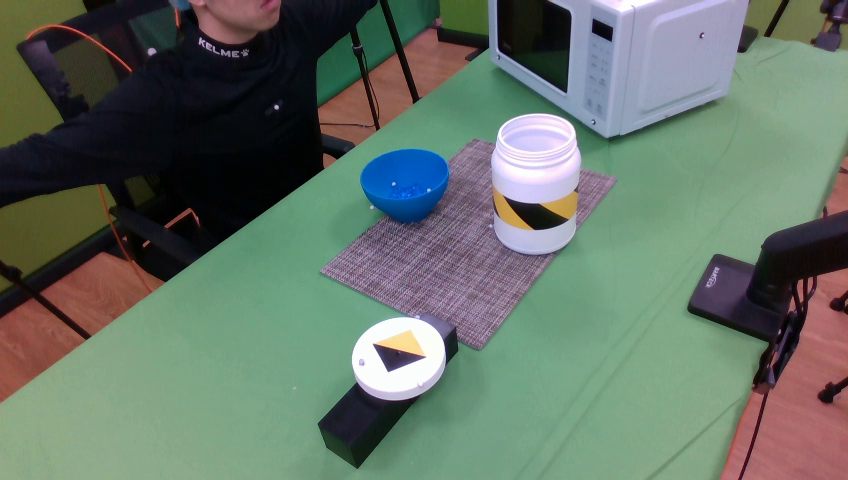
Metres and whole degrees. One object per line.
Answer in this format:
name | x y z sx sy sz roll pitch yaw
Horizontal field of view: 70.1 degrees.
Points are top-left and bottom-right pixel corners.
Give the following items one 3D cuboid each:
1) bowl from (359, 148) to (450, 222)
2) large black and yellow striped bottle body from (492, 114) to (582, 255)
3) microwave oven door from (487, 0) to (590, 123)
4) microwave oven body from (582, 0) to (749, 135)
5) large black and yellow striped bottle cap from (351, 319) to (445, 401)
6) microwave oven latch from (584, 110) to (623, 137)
bowl | -0.029 -0.083 1.022 0.151 0.077 0.150 -4 40 4
large black and yellow striped bottle body | 0.169 -0.083 0.912 0.131 0.185 0.130 -4 41 4
microwave oven door | 0.232 -0.420 1.230 0.039 0.245 0.352 -22 43 -16
microwave oven body | 0.382 -0.444 1.246 0.327 0.261 0.437 -22 42 -16
large black and yellow striped bottle cap | -0.032 0.143 0.735 0.115 0.019 0.114 -3 40 3
microwave oven latch | 0.337 -0.222 1.142 0.030 0.029 0.078 -21 42 -14
